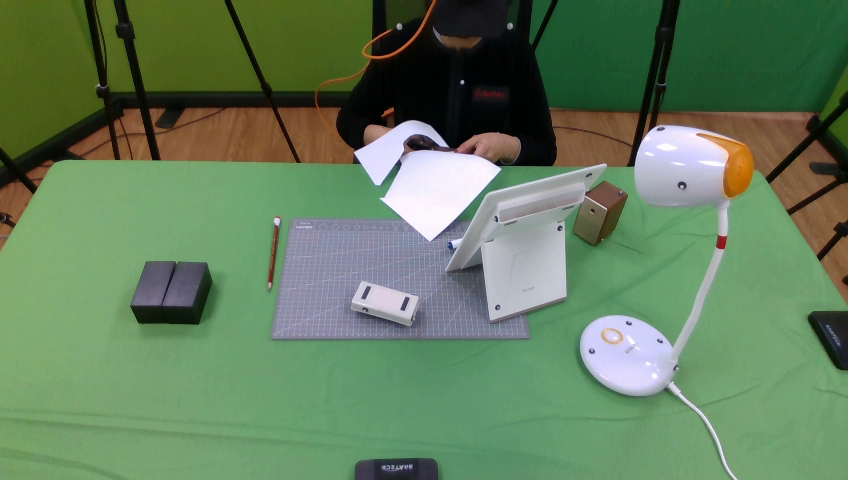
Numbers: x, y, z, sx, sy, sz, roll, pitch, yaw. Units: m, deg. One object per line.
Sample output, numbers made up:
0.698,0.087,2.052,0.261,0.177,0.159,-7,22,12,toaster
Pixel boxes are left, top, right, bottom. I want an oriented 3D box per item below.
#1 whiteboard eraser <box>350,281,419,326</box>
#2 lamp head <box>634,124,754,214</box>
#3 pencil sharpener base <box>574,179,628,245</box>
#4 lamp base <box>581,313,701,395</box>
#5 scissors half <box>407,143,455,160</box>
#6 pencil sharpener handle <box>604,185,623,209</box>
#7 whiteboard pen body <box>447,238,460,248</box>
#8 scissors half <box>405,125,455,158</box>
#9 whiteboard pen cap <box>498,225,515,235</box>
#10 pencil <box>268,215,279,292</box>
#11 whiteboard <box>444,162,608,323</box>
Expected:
-0.069,0.113,1.065,0.112,0.042,0.055,14,46,9,whiteboard eraser
0.351,-0.089,0.775,0.112,0.113,0.122,-30,30,-28,lamp head
0.355,-0.057,1.217,0.076,0.107,0.061,-33,56,-31,pencil sharpener base
0.361,0.144,0.972,0.178,0.181,0.160,34,53,23,lamp base
0.015,-0.201,1.381,0.013,0.040,0.174,-22,21,-32,scissors half
0.390,-0.091,1.235,0.030,0.068,0.036,-34,69,-31,pencil sharpener handle
0.112,-0.006,1.203,0.141,0.017,0.017,-14,49,-18,whiteboard pen body
0.013,-0.220,1.372,0.013,0.040,0.174,-28,46,-29,scissors half
0.166,-0.019,1.222,0.033,0.018,0.018,-14,49,-19,whiteboard pen cap
-0.290,0.022,1.164,0.012,0.012,0.192,-2,48,-6,pencil
0.186,0.025,1.029,0.217,0.306,0.143,-14,68,-18,whiteboard
